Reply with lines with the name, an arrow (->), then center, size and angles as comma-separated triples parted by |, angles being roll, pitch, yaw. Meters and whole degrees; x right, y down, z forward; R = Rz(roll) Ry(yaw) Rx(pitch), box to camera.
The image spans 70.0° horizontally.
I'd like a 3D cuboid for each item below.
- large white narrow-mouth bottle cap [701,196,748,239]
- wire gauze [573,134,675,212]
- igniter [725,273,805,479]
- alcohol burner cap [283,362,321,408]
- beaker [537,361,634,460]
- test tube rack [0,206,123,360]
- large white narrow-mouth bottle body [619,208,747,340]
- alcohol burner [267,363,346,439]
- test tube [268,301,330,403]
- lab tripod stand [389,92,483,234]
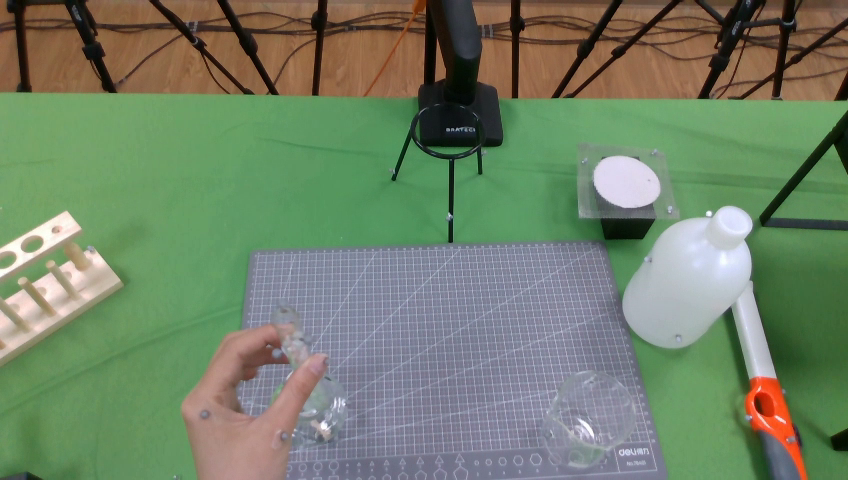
large white narrow-mouth bottle cap -> 0.288, -0.022, 0.583 | 0.038, 0.024, 0.037 | 1, 57, -2
wire gauze -> 0.252, -0.086, 0.778 | 0.121, 0.011, 0.124 | 5, 57, 0
igniter -> 0.376, 0.156, 0.677 | 0.057, 0.025, 0.274 | 10, 56, -9
alcohol burner cap -> -0.115, 0.133, 0.564 | 0.034, 0.048, 0.033 | 0, 52, 0
beaker -> 0.153, 0.175, 0.605 | 0.084, 0.101, 0.073 | -5, 57, -5
test tube rack -> -0.463, 0.073, 0.644 | 0.242, 0.086, 0.066 | -39, 67, -24
large white narrow-mouth bottle body -> 0.285, 0.026, 0.655 | 0.102, 0.196, 0.101 | 1, 57, -1
alcohol burner -> -0.117, 0.152, 0.595 | 0.078, 0.120, 0.077 | 3, 56, -4
test tube -> -0.082, 0.082, 0.412 | 0.017, 0.151, 0.017 | 0, 57, 1
lab tripod stand -> 0.023, -0.103, 0.759 | 0.148, 0.132, 0.147 | 3, 58, -4
